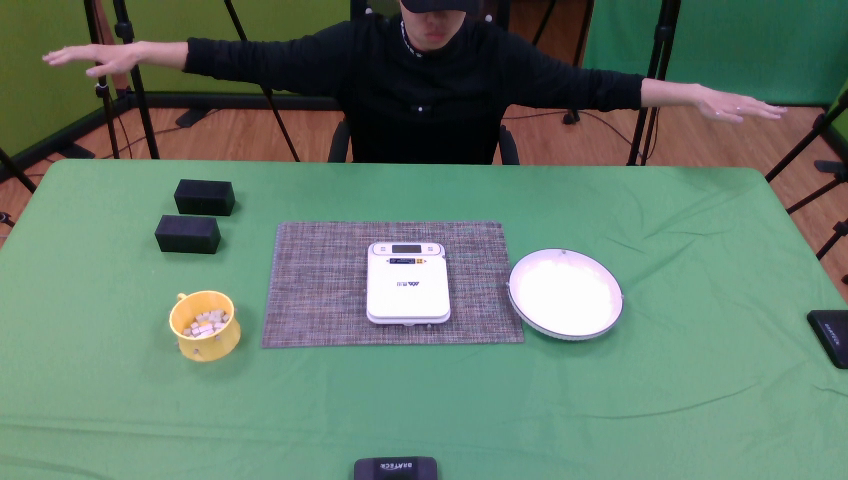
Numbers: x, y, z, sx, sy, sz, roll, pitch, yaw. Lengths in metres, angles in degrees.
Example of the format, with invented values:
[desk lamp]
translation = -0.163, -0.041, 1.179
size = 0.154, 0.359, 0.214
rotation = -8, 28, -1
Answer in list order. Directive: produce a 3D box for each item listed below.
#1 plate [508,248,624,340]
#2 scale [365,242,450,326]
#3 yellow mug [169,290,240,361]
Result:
[plate]
translation = 0.256, 0.101, 1.106
size = 0.209, 0.038, 0.208
rotation = 2, 45, -2
[scale]
translation = -0.032, 0.071, 1.113
size = 0.149, 0.032, 0.199
rotation = 0, 46, -4
[yellow mug]
translation = -0.373, 0.132, 1.009
size = 0.130, 0.064, 0.100
rotation = 35, 53, 27
